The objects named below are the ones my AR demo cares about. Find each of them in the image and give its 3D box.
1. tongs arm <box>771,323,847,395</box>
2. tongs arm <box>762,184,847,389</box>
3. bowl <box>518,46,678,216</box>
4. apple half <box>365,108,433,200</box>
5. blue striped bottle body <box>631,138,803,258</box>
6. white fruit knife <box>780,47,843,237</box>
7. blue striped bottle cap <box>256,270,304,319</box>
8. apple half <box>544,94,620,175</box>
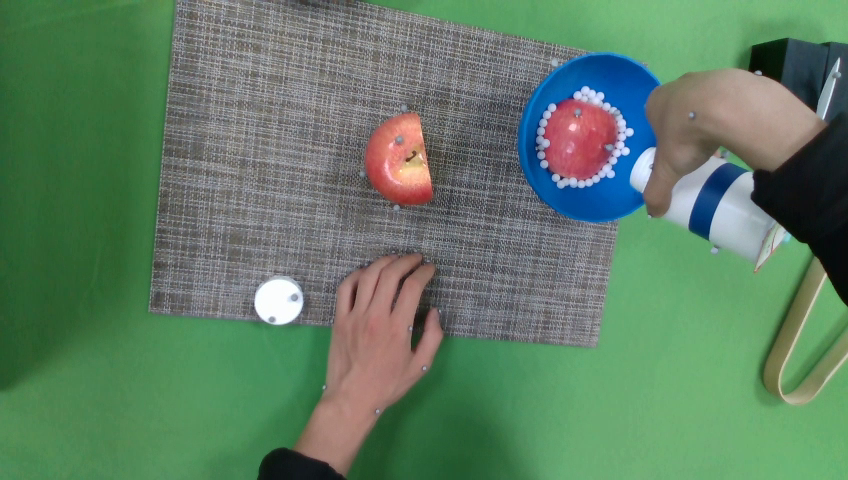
[{"bbox_3d":[0.549,0.033,0.716,0.051,0.026,0.384,37,91,-15],"label":"tongs arm"},{"bbox_3d":[0.481,-0.009,0.697,0.028,0.027,0.387,23,94,-17],"label":"tongs arm"},{"bbox_3d":[0.152,-0.101,0.575,0.152,0.076,0.151,-2,99,-12],"label":"bowl"},{"bbox_3d":[-0.026,-0.074,0.541,0.053,0.074,0.081,-12,105,-7],"label":"apple half"},{"bbox_3d":[0.230,-0.041,0.491,0.063,0.119,0.063,-30,139,-30],"label":"blue striped bottle body"},{"bbox_3d":[0.402,-0.094,0.634,0.016,0.027,0.209,4,115,4],"label":"white fruit knife"},{"bbox_3d":[-0.134,0.051,0.566,0.045,0.020,0.044,-2,99,-14],"label":"blue striped bottle cap"},{"bbox_3d":[0.153,-0.098,0.571,0.081,0.032,0.081,-1,96,-13],"label":"apple half"}]
